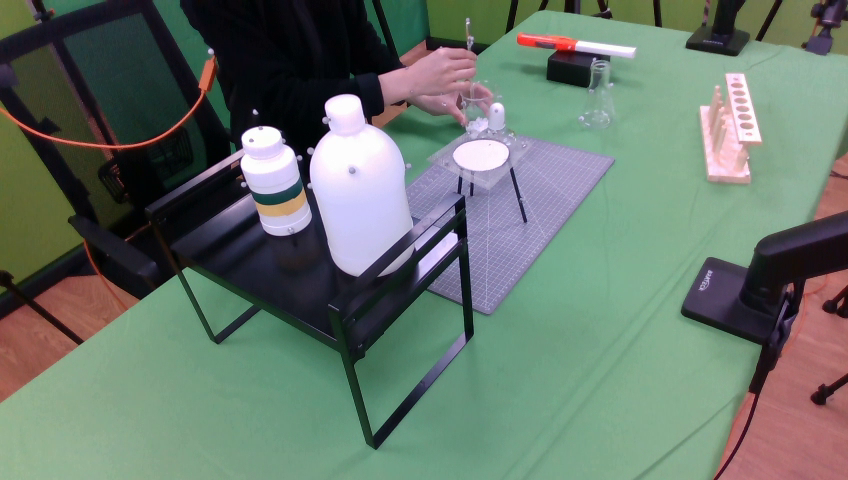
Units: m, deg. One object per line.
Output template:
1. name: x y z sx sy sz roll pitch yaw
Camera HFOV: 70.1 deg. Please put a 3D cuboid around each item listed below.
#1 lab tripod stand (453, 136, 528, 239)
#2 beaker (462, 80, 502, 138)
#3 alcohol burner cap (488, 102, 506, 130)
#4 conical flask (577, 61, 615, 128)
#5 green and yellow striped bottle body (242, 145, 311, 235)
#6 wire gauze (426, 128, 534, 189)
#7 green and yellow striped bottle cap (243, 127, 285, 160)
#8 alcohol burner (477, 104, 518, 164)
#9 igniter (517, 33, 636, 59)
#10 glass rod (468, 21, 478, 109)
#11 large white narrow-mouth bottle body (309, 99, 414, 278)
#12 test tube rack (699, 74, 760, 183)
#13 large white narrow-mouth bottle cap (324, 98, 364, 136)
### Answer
1. lab tripod stand: 0.094 -0.086 0.974 0.148 0.132 0.147 -4 43 4
2. beaker: 0.114 -0.254 1.192 0.074 0.101 0.083 -20 42 -11
3. alcohol burner cap: 0.133 -0.227 1.092 0.034 0.048 0.033 -2 47 2
4. conical flask: 0.343 -0.288 1.188 0.075 0.122 0.075 -4 41 4
5. green and yellow striped bottle body: -0.179 -0.069 0.730 0.063 0.120 0.063 -4 41 4
6. wire gauze: 0.086 -0.131 0.924 0.124 0.011 0.122 26 52 33
7. green and yellow striped bottle cap: -0.183 -0.111 0.694 0.045 0.020 0.045 -1 42 1
8. alcohol burner: 0.135 -0.200 1.117 0.078 0.119 0.077 -4 43 4
9. igniter: 0.336 -0.441 1.369 0.275 0.025 0.057 16 41 23
10. glass rod: 0.090 -0.311 1.095 0.008 0.201 0.008 -4 57 6
11. large white narrow-mouth bottle body: -0.068 -0.057 0.644 0.102 0.195 0.101 -4 42 4
12. test tube rack: 0.547 -0.208 1.095 0.066 0.085 0.242 6 42 16
13. large white narrow-mouth bottle cap: -0.077 -0.120 0.585 0.038 0.024 0.037 -3 42 4
